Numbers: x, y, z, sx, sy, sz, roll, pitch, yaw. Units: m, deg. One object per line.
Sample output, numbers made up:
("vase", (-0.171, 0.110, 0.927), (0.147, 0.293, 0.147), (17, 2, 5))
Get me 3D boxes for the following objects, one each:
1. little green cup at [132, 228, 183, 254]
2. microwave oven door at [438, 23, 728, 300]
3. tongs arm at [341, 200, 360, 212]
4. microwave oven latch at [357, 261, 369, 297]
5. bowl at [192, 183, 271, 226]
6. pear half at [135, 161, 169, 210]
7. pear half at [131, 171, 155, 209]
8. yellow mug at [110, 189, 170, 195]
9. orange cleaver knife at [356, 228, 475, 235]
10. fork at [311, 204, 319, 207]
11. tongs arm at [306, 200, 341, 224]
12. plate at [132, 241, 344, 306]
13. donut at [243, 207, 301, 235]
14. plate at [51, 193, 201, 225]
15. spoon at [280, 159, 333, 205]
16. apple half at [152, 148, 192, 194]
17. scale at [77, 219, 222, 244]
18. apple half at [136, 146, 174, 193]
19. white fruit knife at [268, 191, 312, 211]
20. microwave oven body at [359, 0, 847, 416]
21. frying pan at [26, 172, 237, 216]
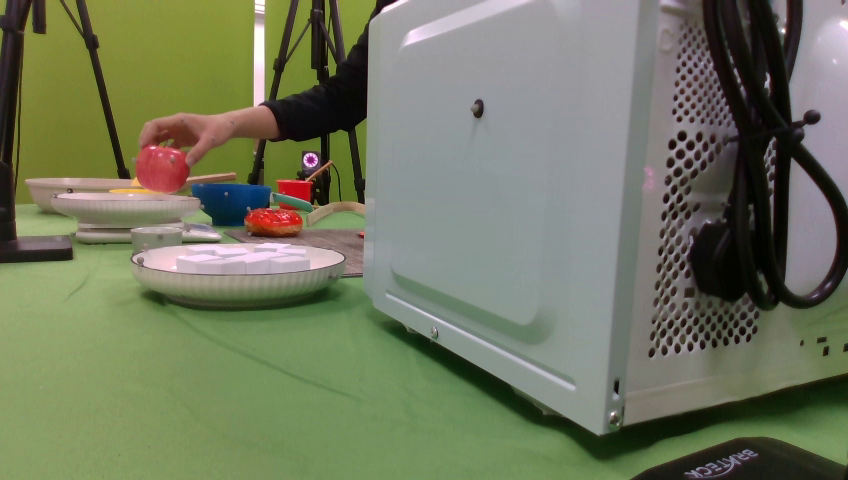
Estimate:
("little green cup", (-0.342, 0.006, 0.779), (0.061, 0.038, 0.061), (3, 8, 0))
("microwave oven door", (0.181, -0.073, 0.621), (0.358, 0.243, 0.039), (-2, 8, -29))
("tongs arm", (-0.149, -0.070, 1.429), (0.051, 0.026, 0.383), (-3, 8, -15))
("microwave oven latch", (-0.019, 0.033, 0.531), (0.079, 0.029, 0.030), (-1, 7, -27))
("bowl", (-0.382, -0.070, 1.202), (0.151, 0.077, 0.151), (3, 7, 0))
("pear half", (-0.602, -0.120, 1.354), (0.056, 0.110, 0.076), (4, 11, 6))
("pear half", (-0.638, -0.113, 1.361), (0.031, 0.088, 0.070), (5, 10, 4))
("yellow mug", (-0.519, -0.055, 1.080), (0.099, 0.064, 0.131), (7, 9, 26))
("orange cleaver knife", (-0.016, -0.015, 1.080), (0.211, 0.012, 0.077), (0, 1, -2))
("fork", (-0.356, -0.105, 1.526), (0.208, 0.018, 0.028), (16, -5, -41))
("tongs arm", (-0.234, -0.069, 1.414), (0.028, 0.028, 0.387), (-5, 7, 1))
("plate", (-0.187, 0.033, 0.625), (0.208, 0.039, 0.207), (2, 7, 0))
("donut", (-0.262, -0.032, 1.043), (0.099, 0.048, 0.099), (4, 8, 0))
("plate", (-0.460, -0.050, 0.944), (0.209, 0.038, 0.209), (2, 7, 0))
("spoon", (-0.316, -0.159, 1.640), (0.194, 0.022, 0.041), (-49, 32, -20))
("apple half", (-0.396, -0.109, 0.970), (0.032, 0.081, 0.081), (9, 9, 19))
("scale", (-0.434, -0.018, 0.963), (0.202, 0.031, 0.148), (-1, 9, -27))
("apple half", (-0.433, -0.116, 0.982), (0.053, 0.074, 0.081), (10, 11, 19))
("white fruit knife", (-0.364, -0.105, 1.464), (0.208, 0.027, 0.016), (15, 0, -34))
("microwave oven body", (0.211, -0.047, 0.474), (0.444, 0.260, 0.324), (-1, 7, -28))
("frying pan", (-0.624, -0.118, 1.387), (0.305, 0.102, 0.490), (8, 17, 32))
